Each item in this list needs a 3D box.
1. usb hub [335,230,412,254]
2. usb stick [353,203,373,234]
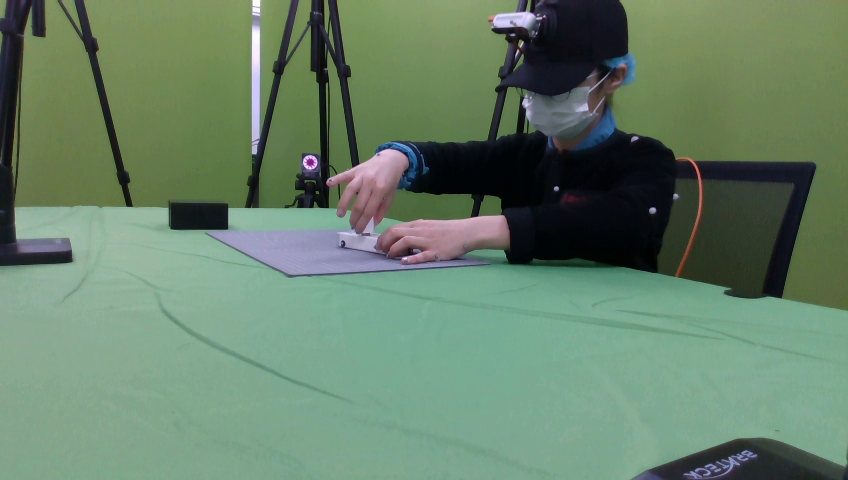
[{"bbox_3d":[-0.080,0.001,0.947,0.124,0.025,0.050,7,9,39],"label":"usb hub"},{"bbox_3d":[-0.094,-0.028,0.937,0.021,0.059,0.027,3,10,36],"label":"usb stick"}]
